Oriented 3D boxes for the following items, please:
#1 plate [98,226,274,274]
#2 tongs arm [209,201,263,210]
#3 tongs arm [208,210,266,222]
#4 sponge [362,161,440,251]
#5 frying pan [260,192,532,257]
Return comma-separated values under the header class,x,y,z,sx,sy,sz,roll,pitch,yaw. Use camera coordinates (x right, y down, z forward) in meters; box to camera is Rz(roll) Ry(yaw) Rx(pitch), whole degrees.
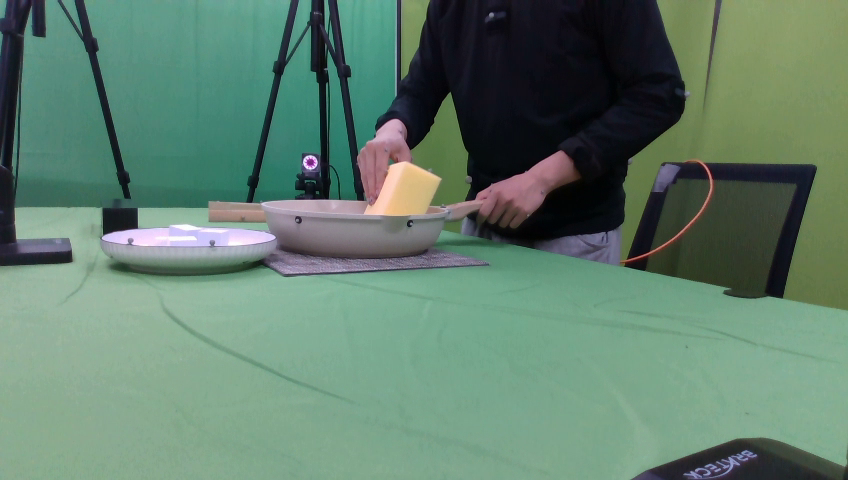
class,x,y,z,sx,sy,sz,roll,pitch,yaw
plate,-0.300,0.012,0.778,0.208,0.039,0.207,3,7,0
tongs arm,-0.306,-0.070,1.430,0.386,0.026,0.050,1,9,-15
tongs arm,-0.280,-0.055,1.355,0.389,0.028,0.028,-2,6,-28
sponge,-0.048,-0.057,0.961,0.061,0.118,0.206,24,-1,-13
frying pan,-0.017,-0.043,1.006,0.490,0.102,0.305,-11,13,-26
